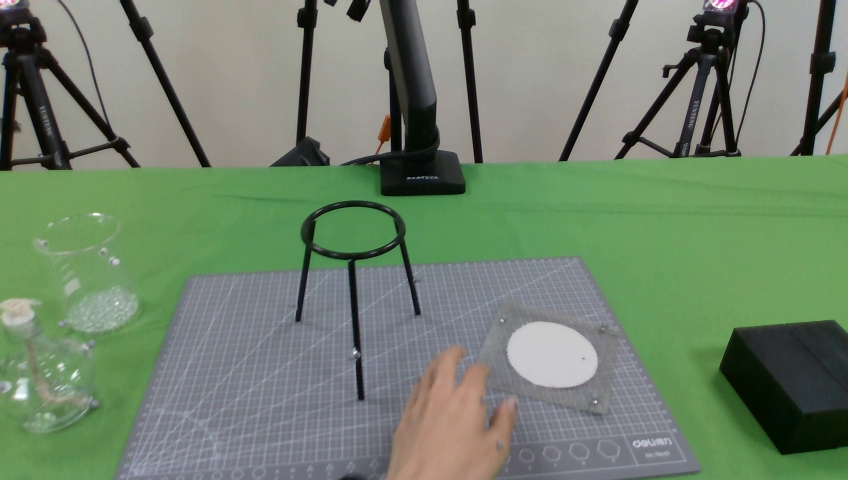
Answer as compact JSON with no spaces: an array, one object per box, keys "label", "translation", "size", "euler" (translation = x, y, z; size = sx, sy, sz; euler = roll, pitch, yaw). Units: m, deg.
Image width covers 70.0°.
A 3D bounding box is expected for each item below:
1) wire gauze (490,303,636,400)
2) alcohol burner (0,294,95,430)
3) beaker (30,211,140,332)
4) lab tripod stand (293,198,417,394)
[{"label":"wire gauze","translation":[0.124,0.097,0.560],"size":[0.125,0.011,0.120],"euler":[7,31,-4]},{"label":"alcohol burner","translation":[-0.310,0.093,0.484],"size":[0.078,0.120,0.077],"euler":[2,31,-1]},{"label":"beaker","translation":[-0.324,0.031,0.591],"size":[0.074,0.101,0.083],"euler":[4,33,4]},{"label":"lab tripod stand","translation":[-0.062,0.042,0.549],"size":[0.148,0.132,0.147],"euler":[3,34,-1]}]
